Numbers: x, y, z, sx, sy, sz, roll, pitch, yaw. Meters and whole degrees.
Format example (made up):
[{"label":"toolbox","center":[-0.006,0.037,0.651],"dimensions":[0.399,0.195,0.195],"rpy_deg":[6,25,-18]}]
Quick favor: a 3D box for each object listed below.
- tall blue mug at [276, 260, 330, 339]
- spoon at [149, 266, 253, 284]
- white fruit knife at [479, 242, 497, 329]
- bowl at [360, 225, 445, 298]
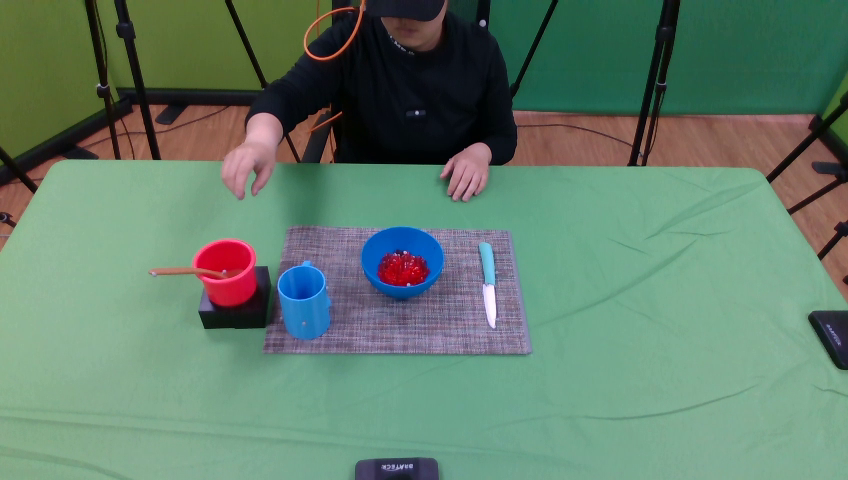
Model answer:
[{"label":"tall blue mug","center":[-0.208,0.094,1.025],"dimensions":[0.078,0.108,0.106],"rpy_deg":[-21,51,-21]},{"label":"spoon","center":[-0.351,0.052,0.968],"dimensions":[0.041,0.021,0.194],"rpy_deg":[40,12,28]},{"label":"white fruit knife","center":[0.122,0.080,1.130],"dimensions":[0.027,0.016,0.206],"rpy_deg":[-19,45,19]},{"label":"bowl","center":[-0.040,0.053,1.099],"dimensions":[0.151,0.077,0.150],"rpy_deg":[2,46,-2]}]
